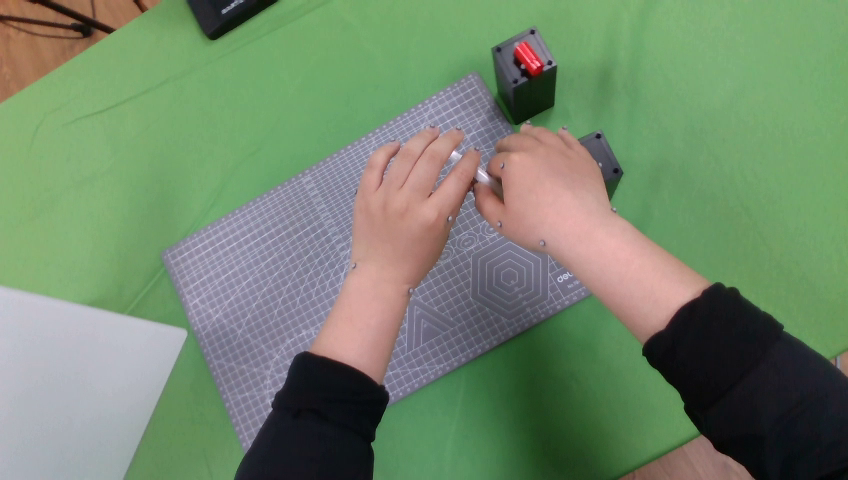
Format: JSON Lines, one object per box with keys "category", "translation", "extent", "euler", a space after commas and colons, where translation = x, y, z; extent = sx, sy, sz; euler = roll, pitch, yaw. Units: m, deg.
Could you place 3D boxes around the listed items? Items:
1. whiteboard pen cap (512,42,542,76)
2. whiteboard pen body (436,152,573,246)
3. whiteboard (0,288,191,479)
{"category": "whiteboard pen cap", "translation": [0.105, -0.182, 0.611], "extent": [0.017, 0.017, 0.032], "euler": [-35, 78, 2]}
{"category": "whiteboard pen body", "translation": [0.066, -0.039, 0.520], "extent": [0.140, 0.017, 0.017], "euler": [36, 87, 15]}
{"category": "whiteboard", "translation": [-0.445, 0.146, 0.628], "extent": [0.142, 0.308, 0.217], "euler": [18, 82, 33]}
